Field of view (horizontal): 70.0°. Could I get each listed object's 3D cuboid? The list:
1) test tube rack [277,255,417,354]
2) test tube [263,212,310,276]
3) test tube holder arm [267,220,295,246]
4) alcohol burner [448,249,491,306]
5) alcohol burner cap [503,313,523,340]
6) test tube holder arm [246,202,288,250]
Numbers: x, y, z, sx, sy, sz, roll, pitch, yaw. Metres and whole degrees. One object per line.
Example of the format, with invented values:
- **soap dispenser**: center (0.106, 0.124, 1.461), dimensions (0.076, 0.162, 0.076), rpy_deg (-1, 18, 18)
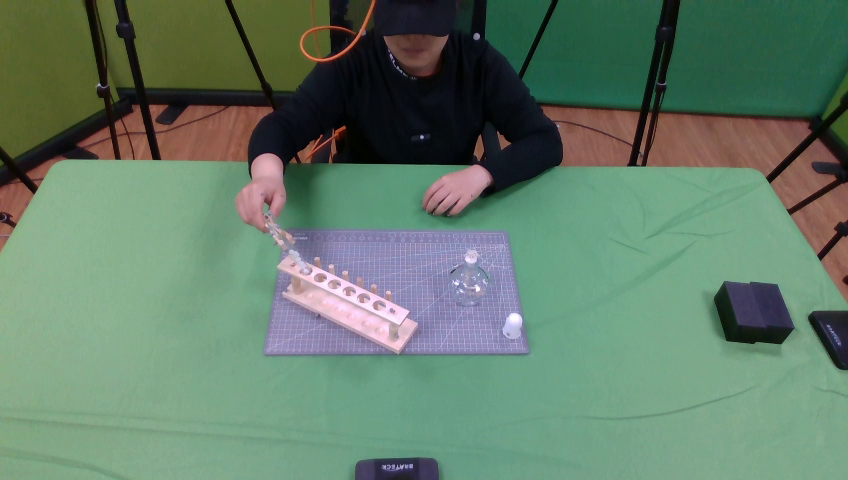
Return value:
- **test tube rack**: center (-0.131, 0.099, 1.045), dimensions (0.241, 0.085, 0.066), rpy_deg (23, 49, 17)
- **test tube**: center (-0.220, 0.010, 0.977), dimensions (0.017, 0.151, 0.017), rpy_deg (-10, 47, 12)
- **test tube holder arm**: center (-0.235, -0.013, 0.982), dimensions (0.010, 0.015, 0.087), rpy_deg (-38, 41, -23)
- **alcohol burner**: center (0.081, 0.062, 1.078), dimensions (0.078, 0.120, 0.077), rpy_deg (1, 45, -1)
- **alcohol burner cap**: center (0.156, 0.148, 1.051), dimensions (0.034, 0.048, 0.033), rpy_deg (1, 45, -1)
- **test tube holder arm**: center (-0.265, -0.026, 1.012), dimensions (0.013, 0.015, 0.177), rpy_deg (-33, 39, -18)
